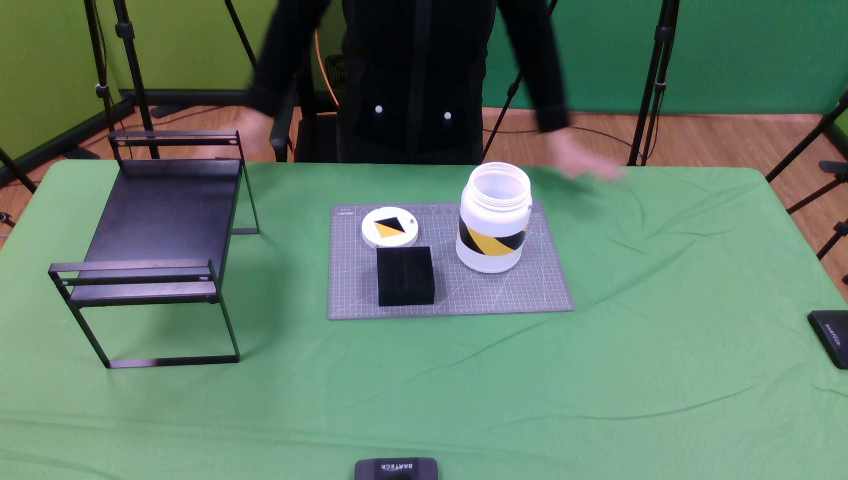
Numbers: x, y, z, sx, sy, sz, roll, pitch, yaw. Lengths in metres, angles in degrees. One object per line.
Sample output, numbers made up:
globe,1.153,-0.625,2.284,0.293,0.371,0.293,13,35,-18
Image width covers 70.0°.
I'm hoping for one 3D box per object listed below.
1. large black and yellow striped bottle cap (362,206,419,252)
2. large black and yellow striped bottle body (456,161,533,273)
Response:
large black and yellow striped bottle cap,-0.067,-0.024,1.215,0.115,0.019,0.114,1,47,-1
large black and yellow striped bottle body,0.131,-0.042,1.129,0.131,0.185,0.130,2,46,-2
